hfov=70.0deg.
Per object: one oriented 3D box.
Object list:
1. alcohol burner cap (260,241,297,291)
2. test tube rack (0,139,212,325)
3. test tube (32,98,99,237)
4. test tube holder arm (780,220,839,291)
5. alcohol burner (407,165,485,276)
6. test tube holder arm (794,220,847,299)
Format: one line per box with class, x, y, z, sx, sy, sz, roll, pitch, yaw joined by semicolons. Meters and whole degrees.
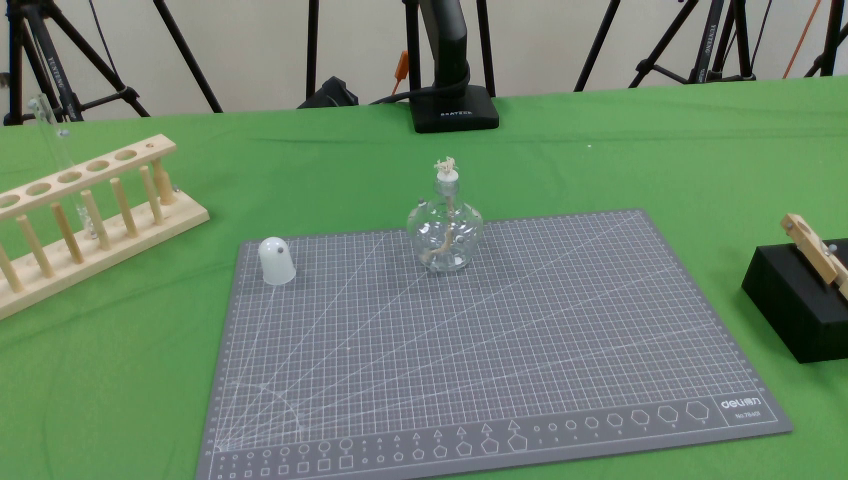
alcohol burner cap;-0.144;0.023;0.595;0.034;0.048;0.033;0;39;0
test tube rack;-0.348;-0.012;0.611;0.066;0.086;0.242;31;48;34
test tube;-0.351;-0.067;0.600;0.017;0.151;0.017;-2;34;2
test tube holder arm;0.349;0.013;0.546;0.010;0.015;0.087;-2;39;-3
alcohol burner;0.022;-0.023;0.593;0.078;0.120;0.077;1;40;0
test tube holder arm;0.359;0.040;0.512;0.013;0.015;0.176;-4;39;-5
